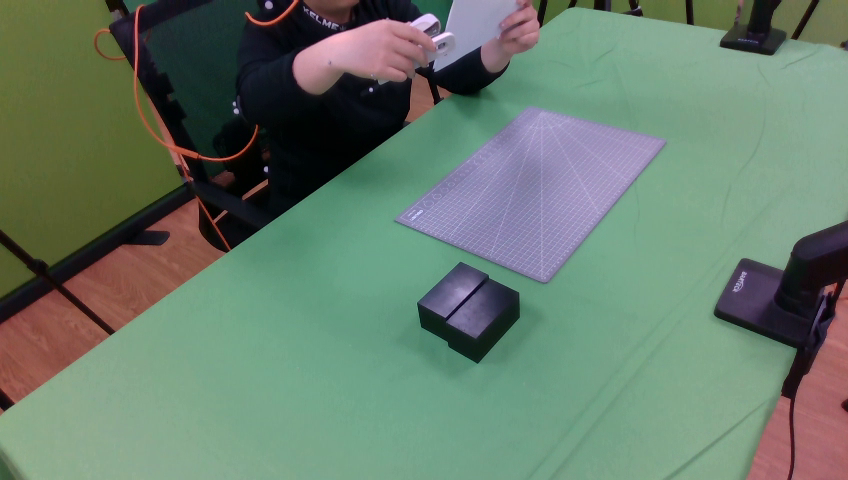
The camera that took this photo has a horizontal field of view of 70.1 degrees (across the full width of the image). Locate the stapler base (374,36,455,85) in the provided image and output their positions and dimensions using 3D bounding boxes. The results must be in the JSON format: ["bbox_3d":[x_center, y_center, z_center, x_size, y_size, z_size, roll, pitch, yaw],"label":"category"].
[{"bbox_3d":[-0.018,-0.274,0.901,0.130,0.041,0.024,-26,79,-1],"label":"stapler base"}]

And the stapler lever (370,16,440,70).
[{"bbox_3d":[-0.030,-0.295,0.904,0.118,0.027,0.040,-26,79,-1],"label":"stapler lever"}]
